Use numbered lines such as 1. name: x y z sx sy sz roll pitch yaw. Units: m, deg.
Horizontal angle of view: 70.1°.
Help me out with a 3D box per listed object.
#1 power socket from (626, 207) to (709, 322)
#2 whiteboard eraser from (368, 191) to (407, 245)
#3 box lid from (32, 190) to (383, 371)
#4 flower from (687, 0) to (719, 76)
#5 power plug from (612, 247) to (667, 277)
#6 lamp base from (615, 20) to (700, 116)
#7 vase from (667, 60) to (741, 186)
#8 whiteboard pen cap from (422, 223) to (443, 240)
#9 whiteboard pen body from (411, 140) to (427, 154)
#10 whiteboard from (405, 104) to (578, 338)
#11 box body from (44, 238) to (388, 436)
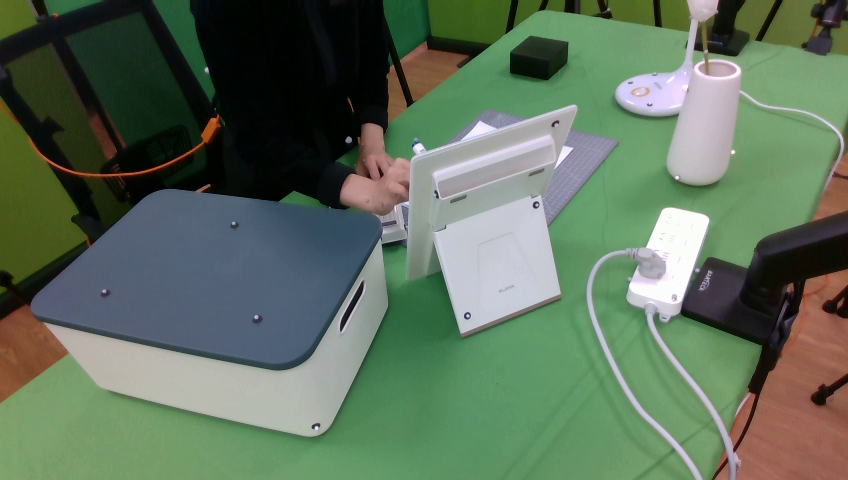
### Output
1. power socket: 0.360 0.026 0.886 0.072 0.033 0.227 16 46 27
2. whiteboard eraser: -0.061 -0.035 1.005 0.056 0.042 0.112 -9 40 -3
3. box lid: -0.257 0.032 0.750 0.370 0.015 0.263 7 41 16
4. flower: 0.436 -0.242 0.934 0.038 0.364 0.043 -24 49 9
5. power plug: 0.306 0.031 0.852 0.072 0.053 0.035 21 48 37
6. lamp base: 0.484 -0.364 1.211 0.180 0.181 0.159 -15 41 -14
7. vase: 0.463 -0.189 0.994 0.098 0.201 0.097 -4 40 3
8. whiteboard pen cap: 0.013 -0.013 0.988 0.033 0.018 0.018 -31 46 -22
9. whiteboard pen body: 0.022 -0.086 0.857 0.017 0.017 0.140 -26 70 -21
10. whiteboard: 0.102 0.003 0.787 0.218 0.306 0.143 -19 62 -14
11. box body: -0.251 0.088 0.799 0.362 0.161 0.254 7 42 16
